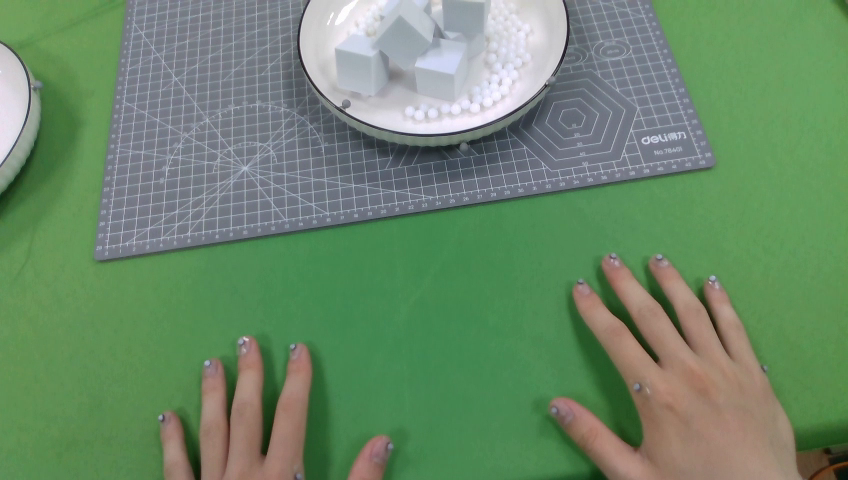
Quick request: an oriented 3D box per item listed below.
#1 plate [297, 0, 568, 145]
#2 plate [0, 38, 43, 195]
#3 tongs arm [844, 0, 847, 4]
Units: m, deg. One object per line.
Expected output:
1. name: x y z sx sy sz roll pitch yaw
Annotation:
1. plate: 0.006 -0.158 0.477 0.209 0.038 0.207 -2 64 4
2. plate: -0.397 -0.076 0.474 0.207 0.039 0.206 -2 64 4
3. tongs arm: 0.361 -0.175 0.467 0.028 0.028 0.384 -17 64 -5
